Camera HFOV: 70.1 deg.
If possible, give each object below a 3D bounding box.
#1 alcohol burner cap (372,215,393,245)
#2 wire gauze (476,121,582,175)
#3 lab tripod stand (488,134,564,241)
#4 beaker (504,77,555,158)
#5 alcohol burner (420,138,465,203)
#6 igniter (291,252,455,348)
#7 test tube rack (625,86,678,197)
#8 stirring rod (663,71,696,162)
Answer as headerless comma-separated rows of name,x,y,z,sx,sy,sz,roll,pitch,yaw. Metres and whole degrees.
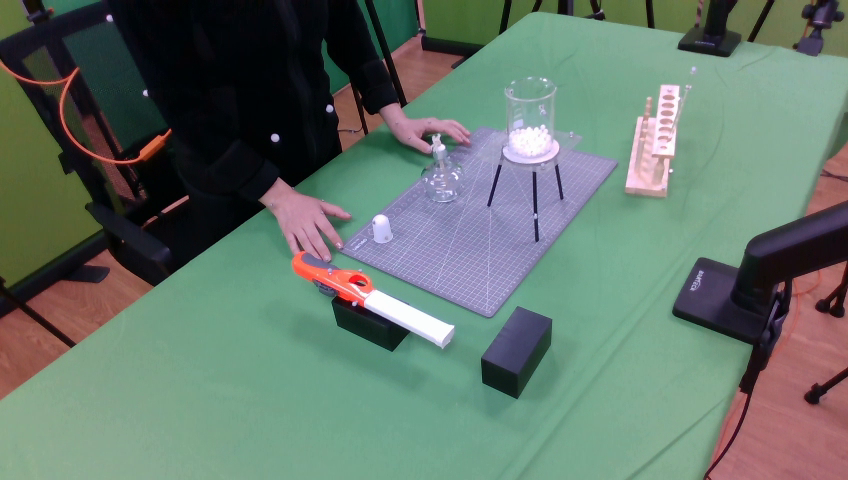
alcohol burner cap,-0.070,-0.019,0.990,0.034,0.048,0.033,-4,40,4
wire gauze,0.162,-0.142,0.929,0.120,0.011,0.125,19,49,32
lab tripod stand,0.168,-0.092,0.972,0.148,0.132,0.147,-5,41,5
beaker,0.160,-0.181,0.900,0.084,0.101,0.073,-33,46,-27
alcohol burner,0.030,-0.124,1.044,0.078,0.119,0.077,-5,42,5
igniter,-0.080,0.076,0.822,0.274,0.025,0.057,23,46,27
test tube rack,0.412,-0.184,1.088,0.066,0.085,0.242,9,43,18
stirring rod,0.410,-0.195,0.981,0.014,0.177,0.006,11,50,14
